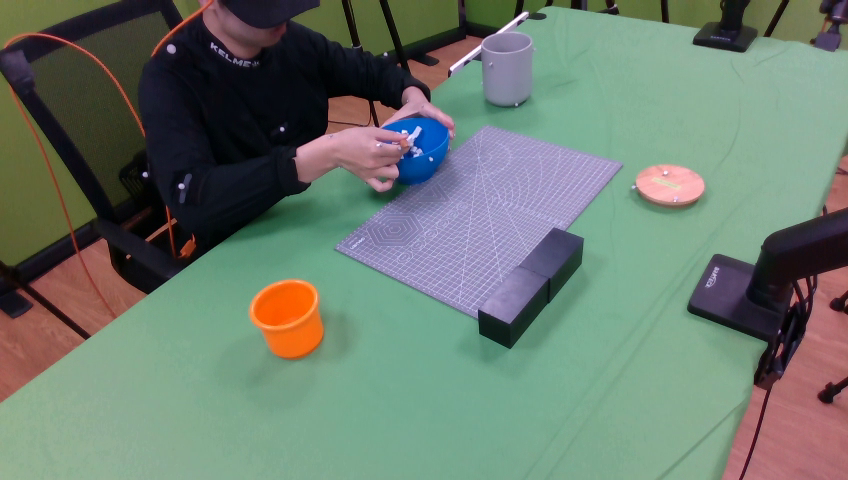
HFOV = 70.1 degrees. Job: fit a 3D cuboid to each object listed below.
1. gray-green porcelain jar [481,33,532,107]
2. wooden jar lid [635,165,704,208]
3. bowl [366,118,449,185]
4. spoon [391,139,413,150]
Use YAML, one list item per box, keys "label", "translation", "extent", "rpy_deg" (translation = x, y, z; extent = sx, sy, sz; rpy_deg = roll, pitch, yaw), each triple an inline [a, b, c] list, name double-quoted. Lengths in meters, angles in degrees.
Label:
- label: "gray-green porcelain jar"
  translation: [0.175, -0.355, 1.278]
  extent: [0.106, 0.127, 0.105]
  rpy_deg: [-4, 41, 4]
- label: "wooden jar lid"
  translation: [0.410, -0.089, 1.014]
  extent: [0.108, 0.021, 0.108]
  rpy_deg: [-5, 42, 5]
- label: "bowl"
  translation: [-0.023, -0.154, 1.106]
  extent: [0.151, 0.077, 0.150]
  rpy_deg: [-6, 38, 6]
- label: "spoon"
  translation: [-0.037, -0.167, 1.047]
  extent: [0.042, 0.021, 0.193]
  rpy_deg: [2, 7, -3]
